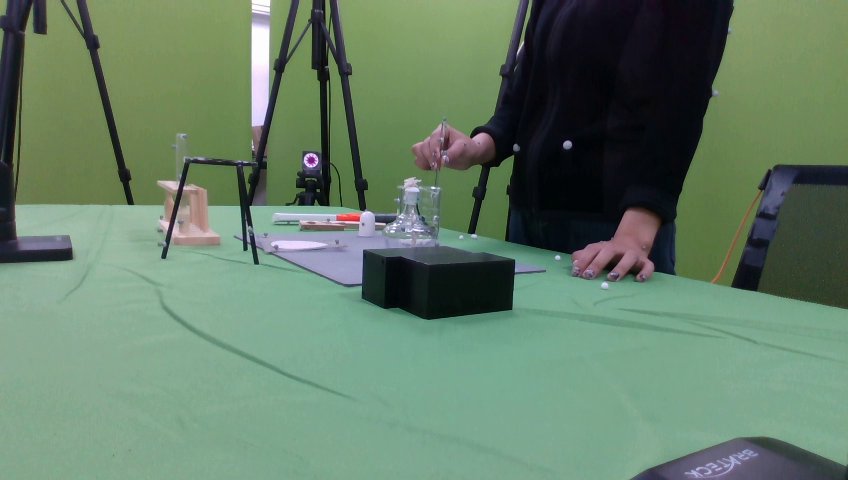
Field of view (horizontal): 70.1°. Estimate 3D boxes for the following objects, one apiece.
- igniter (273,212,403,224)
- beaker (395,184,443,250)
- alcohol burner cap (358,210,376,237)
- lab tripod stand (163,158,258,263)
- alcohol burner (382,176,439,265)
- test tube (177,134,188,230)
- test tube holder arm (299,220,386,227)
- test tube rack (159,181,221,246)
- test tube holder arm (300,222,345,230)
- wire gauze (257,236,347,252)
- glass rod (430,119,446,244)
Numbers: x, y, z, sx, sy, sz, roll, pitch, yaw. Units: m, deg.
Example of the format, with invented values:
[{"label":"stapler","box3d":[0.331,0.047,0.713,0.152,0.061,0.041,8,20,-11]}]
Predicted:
[{"label":"igniter","box3d":[-0.179,-0.048,1.290,0.278,0.025,0.057,-1,-2,-24]},{"label":"beaker","box3d":[-0.007,-0.037,0.964,0.074,0.100,0.083,-4,11,-40]},{"label":"alcohol burner cap","box3d":[-0.104,-0.030,1.098,0.034,0.048,0.034,2,7,0]},{"label":"lab tripod stand","box3d":[-0.265,-0.041,0.802,0.148,0.131,0.148,4,7,0]},{"label":"alcohol burner","box3d":[-0.018,-0.026,0.818,0.078,0.119,0.078,3,9,0]},{"label":"test tube","box3d":[-0.374,-0.089,0.938,0.017,0.150,0.017,2,4,0]},{"label":"test tube holder arm","box3d":[-0.158,-0.032,1.195,0.179,0.015,0.013,-2,43,-29]},{"label":"test tube rack","box3d":[-0.395,-0.050,1.010,0.067,0.085,0.241,-2,8,-28]},{"label":"test tube holder arm","box3d":[-0.196,-0.027,1.170,0.088,0.015,0.010,-1,43,-28]},{"label":"wire gauze","box3d":[-0.189,0.006,0.931,0.122,0.011,0.124,1,7,-21]},{"label":"glass rod","box3d":[0.022,-0.092,0.963,0.008,0.199,0.008,5,8,0]}]
